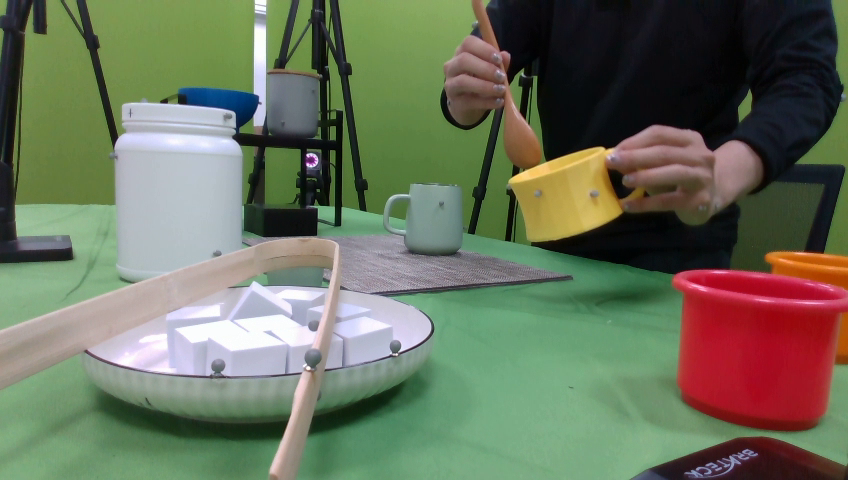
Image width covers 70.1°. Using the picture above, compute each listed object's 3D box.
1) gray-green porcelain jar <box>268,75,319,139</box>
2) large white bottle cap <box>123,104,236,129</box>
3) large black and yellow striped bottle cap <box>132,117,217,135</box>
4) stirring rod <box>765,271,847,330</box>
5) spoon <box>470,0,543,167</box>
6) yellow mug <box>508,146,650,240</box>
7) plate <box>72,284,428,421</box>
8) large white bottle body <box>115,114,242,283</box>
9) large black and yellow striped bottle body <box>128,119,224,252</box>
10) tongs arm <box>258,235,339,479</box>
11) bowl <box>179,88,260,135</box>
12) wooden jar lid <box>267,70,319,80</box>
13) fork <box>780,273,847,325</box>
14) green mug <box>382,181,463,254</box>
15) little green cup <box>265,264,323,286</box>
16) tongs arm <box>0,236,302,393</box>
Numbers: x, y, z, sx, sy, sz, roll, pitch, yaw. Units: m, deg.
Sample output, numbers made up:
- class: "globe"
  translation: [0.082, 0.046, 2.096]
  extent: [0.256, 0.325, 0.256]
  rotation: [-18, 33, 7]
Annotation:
- class: "gray-green porcelain jar"
  translation: [-0.277, -0.279, 1.280]
  extent: [0.106, 0.126, 0.106]
  rotation: [2, 8, 0]
- class: "large white bottle cap"
  translation: [-0.266, -0.134, 0.663]
  extent: [0.115, 0.018, 0.115]
  rotation: [3, 7, 0]
- class: "large black and yellow striped bottle cap"
  translation: [-0.359, -0.164, 0.875]
  extent: [0.115, 0.019, 0.115]
  rotation: [2, 6, 0]
- class: "stirring rod"
  translation: [0.352, 0.020, 0.481]
  extent: [0.176, 0.006, 0.014]
  rotation: [-40, -8, 17]
- class: "spoon"
  translation: [0.084, -0.170, 0.650]
  extent: [0.041, 0.193, 0.022]
  rotation: [-17, 1, 40]
- class: "yellow mug"
  translation: [0.156, -0.052, 0.602]
  extent: [0.130, 0.064, 0.100]
  rotation: [-16, 10, 19]
- class: "plate"
  translation: [-0.102, 0.067, 0.381]
  extent: [0.208, 0.039, 0.207]
  rotation: [3, 7, 0]
- class: "large white bottle body"
  translation: [-0.270, -0.051, 0.673]
  extent: [0.131, 0.184, 0.130]
  rotation: [3, 8, 0]
- class: "large black and yellow striped bottle body"
  translation: [-0.361, -0.081, 0.887]
  extent: [0.131, 0.184, 0.130]
  rotation: [2, 8, 0]
- class: "tongs arm"
  translation: [-0.074, 0.040, 0.345]
  extent: [0.051, 0.026, 0.384]
  rotation: [-2, 10, -3]
- class: "bowl"
  translation: [-0.400, -0.248, 1.188]
  extent: [0.151, 0.077, 0.151]
  rotation: [2, 6, 0]
- class: "wooden jar lid"
  translation: [-0.275, -0.339, 1.271]
  extent: [0.108, 0.020, 0.108]
  rotation: [5, 6, 0]
- class: "fork"
  translation: [0.332, 0.018, 0.443]
  extent: [0.028, 0.018, 0.207]
  rotation: [-3, -35, -16]
- class: "green mug"
  translation: [-0.001, -0.036, 0.922]
  extent: [0.126, 0.105, 0.092]
  rotation: [0, 8, -16]
- class: "little green cup"
  translation: [-0.134, 0.034, 0.628]
  extent: [0.061, 0.038, 0.061]
  rotation: [3, 7, 0]
- class: "tongs arm"
  translation: [-0.157, 0.038, 0.347]
  extent: [0.028, 0.028, 0.388]
  rotation: [-3, 8, 11]
